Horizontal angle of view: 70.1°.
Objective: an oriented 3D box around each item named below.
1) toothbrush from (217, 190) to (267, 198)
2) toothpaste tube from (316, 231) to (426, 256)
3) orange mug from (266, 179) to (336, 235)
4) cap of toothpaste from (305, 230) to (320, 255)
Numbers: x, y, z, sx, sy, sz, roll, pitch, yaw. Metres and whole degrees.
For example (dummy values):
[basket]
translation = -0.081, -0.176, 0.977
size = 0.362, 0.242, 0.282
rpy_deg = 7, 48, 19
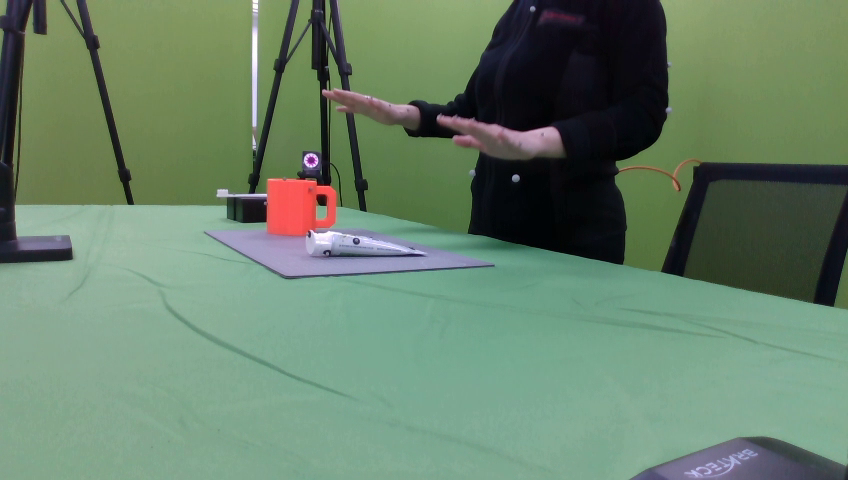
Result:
[toothbrush]
translation = -0.344, -0.096, 1.282
size = 0.183, 0.016, 0.014
rpy_deg = -1, 5, -27
[toothpaste tube]
translation = -0.080, 0.009, 0.870
size = 0.166, 0.034, 0.055
rpy_deg = 4, 12, -26
[orange mug]
translation = -0.222, -0.062, 1.094
size = 0.127, 0.101, 0.083
rpy_deg = -5, 10, -22
[cap of toothpaste]
translation = -0.154, 0.003, 0.836
size = 0.011, 0.037, 0.037
rpy_deg = -3, 9, -34
